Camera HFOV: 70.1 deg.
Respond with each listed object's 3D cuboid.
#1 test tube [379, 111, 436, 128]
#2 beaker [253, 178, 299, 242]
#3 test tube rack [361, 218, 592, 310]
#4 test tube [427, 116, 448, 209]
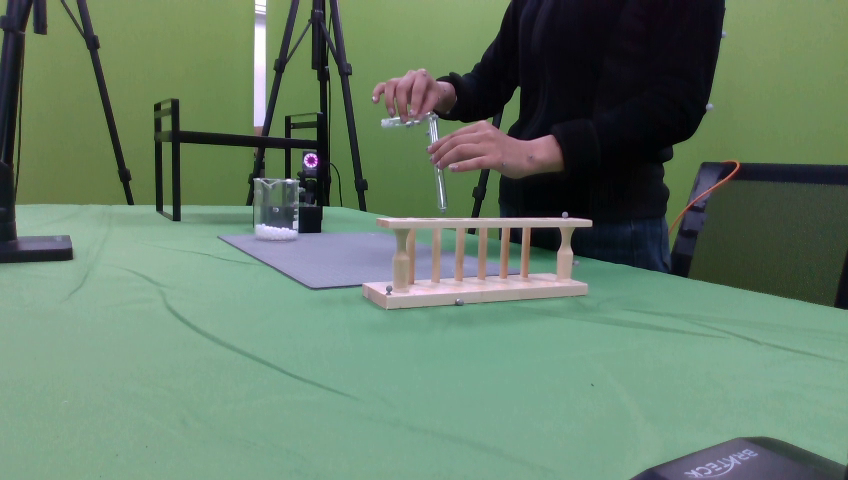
[{"bbox_3d":[-0.029,-0.194,0.975,0.017,0.017,0.149,-3,6,-36],"label":"test tube"},{"bbox_3d":[-0.243,-0.050,0.990,0.074,0.100,0.084,2,9,1],"label":"beaker"},{"bbox_3d":[0.060,0.019,0.640,0.243,0.085,0.066,-1,8,-27],"label":"test tube rack"},{"bbox_3d":[0.020,-0.115,0.891,0.017,0.150,0.017,-6,-19,-2],"label":"test tube"}]
